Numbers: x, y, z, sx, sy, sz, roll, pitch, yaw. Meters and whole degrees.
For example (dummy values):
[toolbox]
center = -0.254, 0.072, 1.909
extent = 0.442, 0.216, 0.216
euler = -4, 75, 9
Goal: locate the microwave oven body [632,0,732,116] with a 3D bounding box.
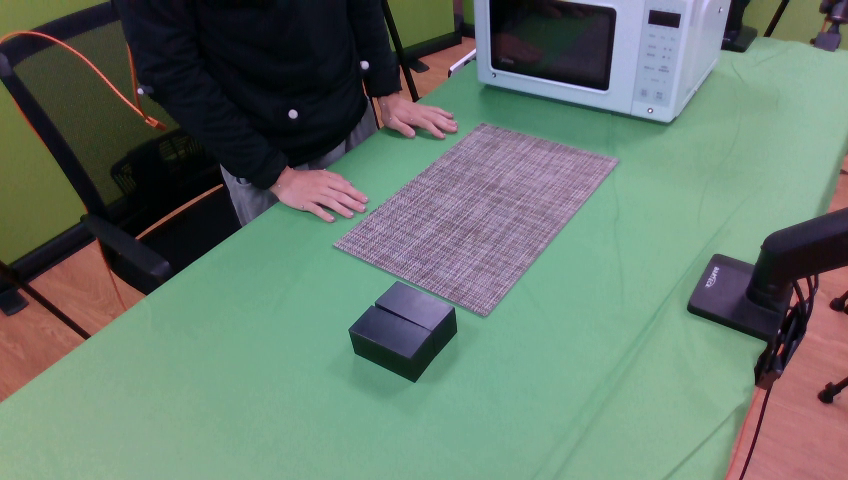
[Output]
[microwave oven body]
center = 0.377, -0.462, 1.267
extent = 0.438, 0.261, 0.327
euler = 21, 48, 30

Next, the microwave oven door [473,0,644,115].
[microwave oven door]
center = 0.257, -0.396, 1.199
extent = 0.353, 0.245, 0.039
euler = 21, 48, 29

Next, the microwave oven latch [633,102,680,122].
[microwave oven latch]
center = 0.444, -0.249, 1.157
extent = 0.078, 0.029, 0.030
euler = 21, 49, 30
